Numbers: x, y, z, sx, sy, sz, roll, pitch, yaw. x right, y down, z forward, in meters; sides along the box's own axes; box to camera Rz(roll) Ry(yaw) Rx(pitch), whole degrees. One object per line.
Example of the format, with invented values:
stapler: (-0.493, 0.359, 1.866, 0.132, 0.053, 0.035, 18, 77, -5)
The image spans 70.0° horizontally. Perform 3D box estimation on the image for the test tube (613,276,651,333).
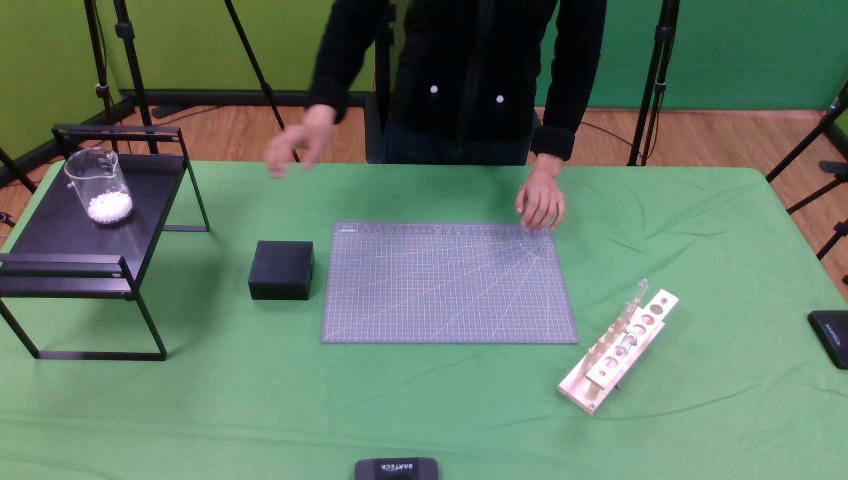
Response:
test tube: (0.344, 0.109, 1.007, 0.017, 0.151, 0.017, 3, 49, -3)

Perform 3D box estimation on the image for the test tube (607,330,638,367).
test tube: (0.293, 0.184, 0.925, 0.017, 0.151, 0.017, 4, 49, -4)

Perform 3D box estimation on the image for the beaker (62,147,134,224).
beaker: (-0.495, -0.080, 0.934, 0.084, 0.101, 0.074, 23, 50, 16)

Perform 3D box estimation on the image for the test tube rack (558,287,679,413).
test tube rack: (0.326, 0.170, 1.009, 0.066, 0.085, 0.242, 36, 54, 27)
